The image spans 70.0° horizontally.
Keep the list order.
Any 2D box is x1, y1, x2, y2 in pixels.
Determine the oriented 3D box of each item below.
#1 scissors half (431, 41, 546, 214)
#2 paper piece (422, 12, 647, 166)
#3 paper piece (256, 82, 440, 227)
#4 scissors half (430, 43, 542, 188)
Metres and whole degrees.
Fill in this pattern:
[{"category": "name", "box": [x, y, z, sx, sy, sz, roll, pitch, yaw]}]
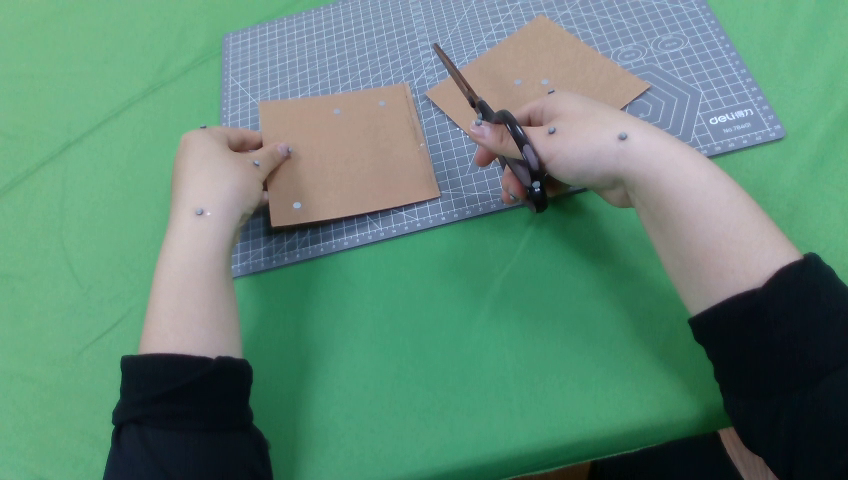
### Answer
[{"category": "scissors half", "box": [0.043, -0.089, 0.446, 0.013, 0.040, 0.173, -28, 67, 1]}, {"category": "paper piece", "box": [0.089, -0.128, 0.512, 0.135, 0.004, 0.134, -36, 59, -8]}, {"category": "paper piece", "box": [-0.068, -0.078, 0.507, 0.138, 0.009, 0.134, -12, 54, -4]}, {"category": "scissors half", "box": [0.038, -0.098, 0.428, 0.013, 0.040, 0.173, -26, 48, -3]}]
